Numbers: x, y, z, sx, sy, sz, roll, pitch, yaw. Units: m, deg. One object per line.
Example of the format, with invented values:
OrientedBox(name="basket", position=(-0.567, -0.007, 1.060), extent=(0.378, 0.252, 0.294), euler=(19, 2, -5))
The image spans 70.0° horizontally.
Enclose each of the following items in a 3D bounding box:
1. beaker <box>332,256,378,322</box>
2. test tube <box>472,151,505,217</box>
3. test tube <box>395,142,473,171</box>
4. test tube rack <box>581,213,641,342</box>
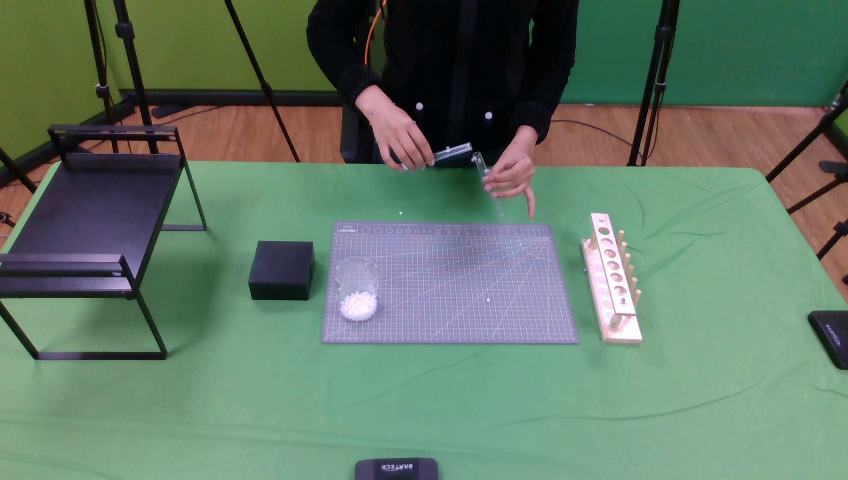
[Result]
OrientedBox(name="beaker", position=(-0.114, 0.089, 1.047), extent=(0.083, 0.101, 0.074), euler=(30, 52, 21))
OrientedBox(name="test tube", position=(0.122, -0.102, 1.127), extent=(0.017, 0.151, 0.017), euler=(-19, 35, 14))
OrientedBox(name="test tube", position=(0.016, -0.150, 1.095), extent=(0.150, 0.017, 0.017), euler=(-14, 43, 18))
OrientedBox(name="test tube rack", position=(0.351, 0.064, 1.121), extent=(0.067, 0.085, 0.241), euler=(3, 46, -1))
